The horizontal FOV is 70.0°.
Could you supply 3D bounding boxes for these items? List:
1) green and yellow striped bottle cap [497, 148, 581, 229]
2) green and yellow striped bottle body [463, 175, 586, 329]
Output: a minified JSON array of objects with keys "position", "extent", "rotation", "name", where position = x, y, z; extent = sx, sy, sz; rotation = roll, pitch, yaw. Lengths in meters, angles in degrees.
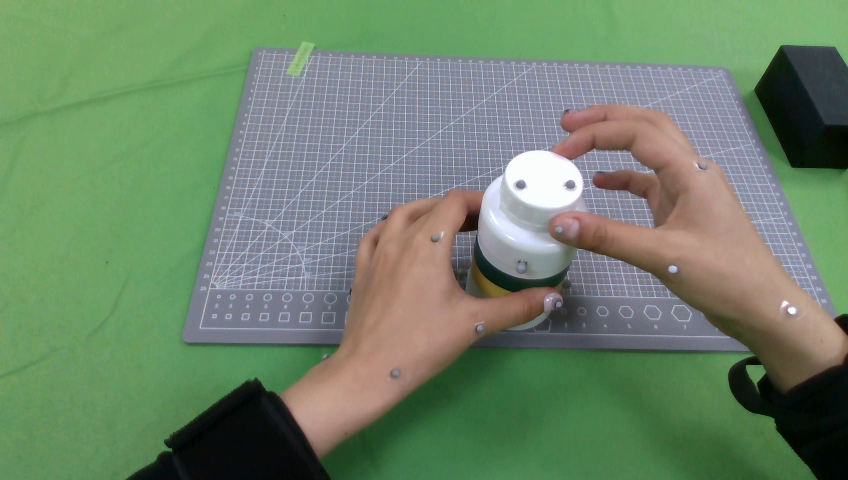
[{"position":[0.063,-0.029,0.335],"extent":[0.045,0.020,0.045],"rotation":[3,56,-3],"name":"green and yellow striped bottle cap"},{"position":[0.061,0.002,0.377],"extent":[0.063,0.120,0.062],"rotation":[2,55,-2],"name":"green and yellow striped bottle body"}]
